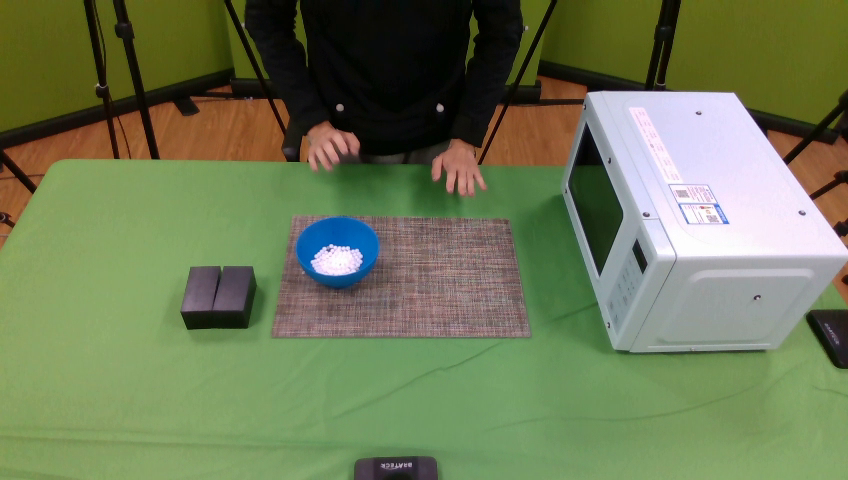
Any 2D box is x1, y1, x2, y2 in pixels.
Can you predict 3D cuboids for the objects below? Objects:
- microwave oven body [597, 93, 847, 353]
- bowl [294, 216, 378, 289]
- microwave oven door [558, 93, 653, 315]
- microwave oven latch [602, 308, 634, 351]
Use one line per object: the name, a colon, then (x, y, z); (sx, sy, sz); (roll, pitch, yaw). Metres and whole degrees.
microwave oven body: (0.475, -0.041, 1.109); (0.326, 0.261, 0.438); (-1, 45, -4)
bowl: (-0.158, 0.036, 1.110); (0.151, 0.077, 0.150); (3, 45, -2)
microwave oven door: (0.327, -0.074, 1.123); (0.039, 0.245, 0.353); (0, 46, -5)
microwave oven latch: (0.332, 0.153, 1.043); (0.030, 0.029, 0.078); (-1, 45, -4)
